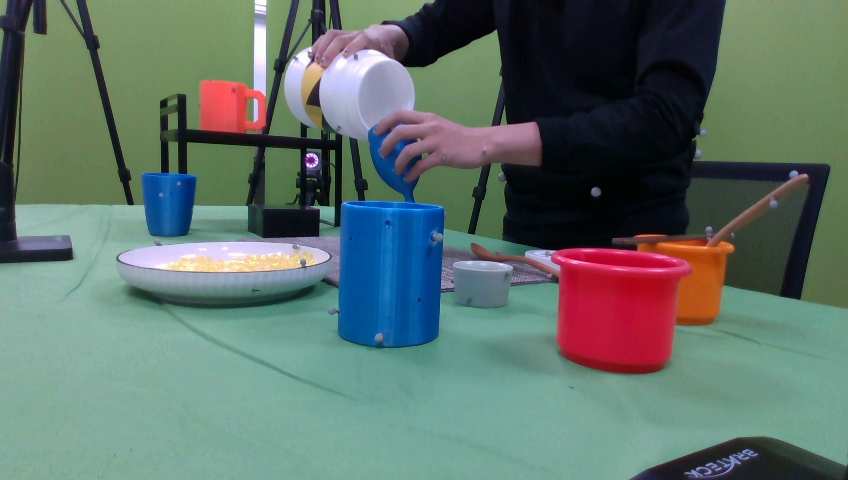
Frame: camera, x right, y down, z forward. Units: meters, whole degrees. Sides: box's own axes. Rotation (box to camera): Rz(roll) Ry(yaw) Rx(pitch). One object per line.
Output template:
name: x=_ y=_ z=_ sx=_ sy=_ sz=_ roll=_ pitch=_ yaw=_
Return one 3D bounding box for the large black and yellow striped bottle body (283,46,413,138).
large black and yellow striped bottle body: x=-0.116 y=-0.227 z=0.928 sx=0.131 sy=0.130 sz=0.183 roll=-5 pitch=18 yaw=-43

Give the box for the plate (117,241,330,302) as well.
plate: x=-0.203 y=0.031 z=0.630 sx=0.209 sy=0.038 sz=0.209 roll=3 pitch=7 yaw=0

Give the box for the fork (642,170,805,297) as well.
fork: x=0.261 y=0.004 z=0.545 sx=0.028 sy=0.018 sz=0.207 roll=5 pitch=-37 yaw=-15

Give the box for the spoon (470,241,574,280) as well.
spoon: x=0.124 y=0.025 z=0.800 sx=0.042 sy=0.021 sz=0.192 roll=21 pitch=-4 yaw=-34

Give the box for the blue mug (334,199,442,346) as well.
blue mug: x=-0.034 y=0.020 z=0.498 sx=0.083 sy=0.106 sz=0.116 roll=0 pitch=7 yaw=-20

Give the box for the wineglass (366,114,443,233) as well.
wineglass: x=-0.029 y=-0.085 z=0.849 sx=0.074 sy=0.172 sz=0.074 roll=-16 pitch=-10 yaw=-3

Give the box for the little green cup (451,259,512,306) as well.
little green cup: x=0.057 y=0.043 z=0.611 sx=0.061 sy=0.038 sz=0.061 roll=3 pitch=8 yaw=0

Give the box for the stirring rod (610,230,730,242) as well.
stirring rod: x=0.241 y=-0.004 z=0.582 sx=0.177 sy=0.006 sz=0.014 roll=-3 pitch=9 yaw=-34

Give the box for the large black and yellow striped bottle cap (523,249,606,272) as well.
large black and yellow striped bottle cap: x=0.198 y=0.028 z=0.851 sx=0.115 sy=0.019 sz=0.115 roll=5 pitch=5 yaw=0

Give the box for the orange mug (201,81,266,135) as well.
orange mug: x=-0.377 y=-0.260 z=1.198 sx=0.126 sy=0.101 sz=0.083 roll=-3 pitch=8 yaw=-6

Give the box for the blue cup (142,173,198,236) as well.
blue cup: x=-0.425 y=-0.060 z=1.014 sx=0.093 sy=0.100 sz=0.092 roll=4 pitch=9 yaw=0
